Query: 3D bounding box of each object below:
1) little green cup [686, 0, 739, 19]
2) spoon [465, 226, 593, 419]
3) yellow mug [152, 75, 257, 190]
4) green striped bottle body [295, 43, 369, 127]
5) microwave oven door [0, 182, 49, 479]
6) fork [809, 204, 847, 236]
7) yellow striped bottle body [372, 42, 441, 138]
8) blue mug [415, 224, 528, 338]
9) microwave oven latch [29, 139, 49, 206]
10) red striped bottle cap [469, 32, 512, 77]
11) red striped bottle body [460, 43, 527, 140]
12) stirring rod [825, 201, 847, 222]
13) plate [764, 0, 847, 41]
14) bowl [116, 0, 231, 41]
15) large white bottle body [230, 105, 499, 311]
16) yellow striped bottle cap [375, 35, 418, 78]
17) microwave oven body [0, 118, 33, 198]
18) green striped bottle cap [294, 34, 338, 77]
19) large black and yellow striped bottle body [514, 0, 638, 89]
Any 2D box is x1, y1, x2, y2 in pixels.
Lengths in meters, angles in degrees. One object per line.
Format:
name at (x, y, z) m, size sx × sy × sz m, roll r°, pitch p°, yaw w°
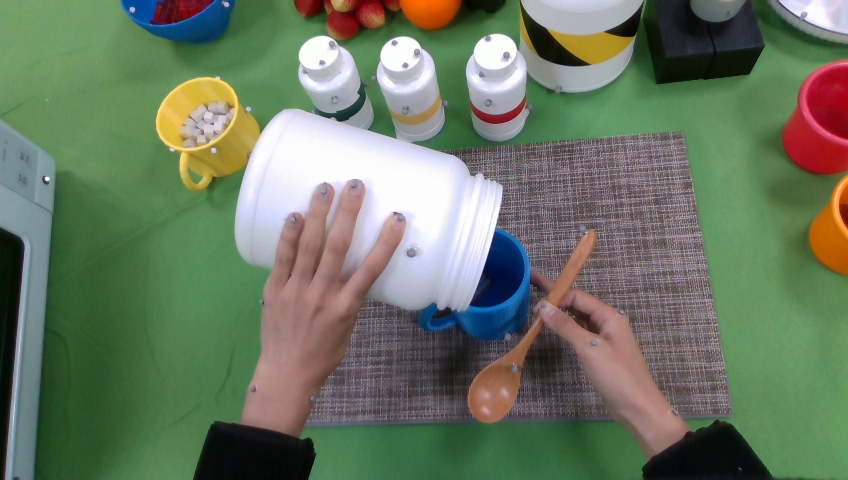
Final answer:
little green cup at (0.311, -0.269, 0.646) m, size 0.061 × 0.039 × 0.061 m, roll -2°, pitch 67°, yaw 5°
spoon at (0.095, 0.073, 0.526) m, size 0.041 × 0.021 × 0.194 m, roll 32°, pitch 103°, yaw 8°
yellow mug at (-0.263, -0.122, 0.716) m, size 0.100 × 0.064 × 0.130 m, roll 6°, pitch 71°, yaw 11°
green striped bottle body at (-0.105, -0.175, 0.683) m, size 0.063 × 0.120 × 0.062 m, roll -3°, pitch 68°, yaw 7°
microwave oven door at (-0.451, 0.085, 0.551) m, size 0.039 × 0.246 × 0.353 m, roll -12°, pitch 68°, yaw 4°
fork at (0.431, 0.001, 0.520) m, size 0.028 × 0.019 × 0.205 m, roll -40°, pitch 25°, yaw -7°
yellow striped bottle body at (-0.019, -0.170, 0.668) m, size 0.063 × 0.121 × 0.062 m, roll -3°, pitch 68°, yaw 8°
blue mug at (0.043, 0.050, 0.578) m, size 0.116 × 0.107 × 0.081 m, roll -31°, pitch 67°, yaw -4°
microwave oven latch at (-0.471, -0.079, 0.725) m, size 0.030 × 0.030 × 0.078 m, roll -10°, pitch 69°, yaw 4°
red striped bottle cap at (0.066, -0.186, 0.605) m, size 0.044 × 0.018 × 0.044 m, roll -1°, pitch 67°, yaw 4°
red striped bottle body at (0.076, -0.166, 0.653) m, size 0.063 × 0.121 × 0.062 m, roll -6°, pitch 65°, yaw 13°
stirring rod at (0.402, 0.000, 0.531) m, size 0.014 × 0.006 × 0.175 m, roll -1°, pitch 26°, yaw 6°
plate at (0.481, -0.309, 0.691) m, size 0.209 × 0.038 × 0.207 m, roll -3°, pitch 69°, yaw 8°
bowl at (-0.311, -0.316, 0.791) m, size 0.151 × 0.077 × 0.150 m, roll -3°, pitch 69°, yaw 7°
large white bottle body at (-0.043, -0.020, 0.485) m, size 0.185 × 0.131 × 0.130 m, roll 18°, pitch 72°, yaw -2°
yellow striped bottle cap at (-0.028, -0.188, 0.620) m, size 0.044 × 0.019 × 0.044 m, roll -1°, pitch 64°, yaw 3°
microwave oven body at (-0.600, 0.078, 0.581) m, size 0.326 × 0.262 × 0.438 m, roll -12°, pitch 69°, yaw 3°
green striped bottle cap at (-0.114, -0.194, 0.635) m, size 0.044 × 0.020 × 0.044 m, roll -2°, pitch 68°, yaw 6°
large black and yellow striped bottle body at (0.161, -0.264, 0.643) m, size 0.130 × 0.185 × 0.130 m, roll -3°, pitch 69°, yaw 8°
